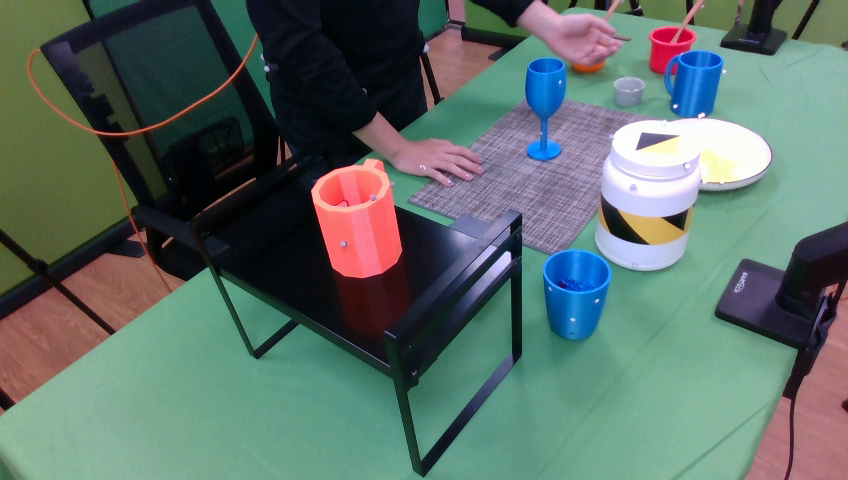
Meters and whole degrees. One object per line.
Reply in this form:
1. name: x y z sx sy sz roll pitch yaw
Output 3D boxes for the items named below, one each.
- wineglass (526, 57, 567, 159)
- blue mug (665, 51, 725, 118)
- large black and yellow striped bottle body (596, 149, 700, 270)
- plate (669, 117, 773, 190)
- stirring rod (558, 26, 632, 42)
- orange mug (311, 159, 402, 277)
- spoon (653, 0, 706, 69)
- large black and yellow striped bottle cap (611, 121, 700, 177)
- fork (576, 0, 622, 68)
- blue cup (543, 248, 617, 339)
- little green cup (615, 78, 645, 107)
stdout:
1. wineglass: 0.221 -0.237 1.097 0.074 0.173 0.073 -5 41 4
2. blue mug: 0.526 -0.314 1.199 0.082 0.106 0.115 -27 44 -21
3. large black and yellow striped bottle body: 0.323 -0.062 0.877 0.131 0.185 0.130 -5 40 4
4. plate: 0.495 -0.148 1.063 0.209 0.038 0.208 -5 40 4
5. stirring rod: 0.381 -0.463 1.356 0.175 0.006 0.014 22 47 30
6. orange mug: -0.069 -0.034 0.694 0.083 0.101 0.126 5 46 16
7. spoon: 0.570 -0.461 1.334 0.041 0.022 0.193 39 102 42
8. large black and yellow striped bottle cap: 0.315 -0.126 0.823 0.115 0.019 0.114 -4 42 4
9. fork: 0.409 -0.484 1.381 0.028 0.019 0.207 37 101 45
10. blue cup: 0.199 0.076 0.797 0.092 0.100 0.092 -4 39 4
11. little green cup: 0.426 -0.306 1.257 0.061 0.039 0.061 -5 40 4
